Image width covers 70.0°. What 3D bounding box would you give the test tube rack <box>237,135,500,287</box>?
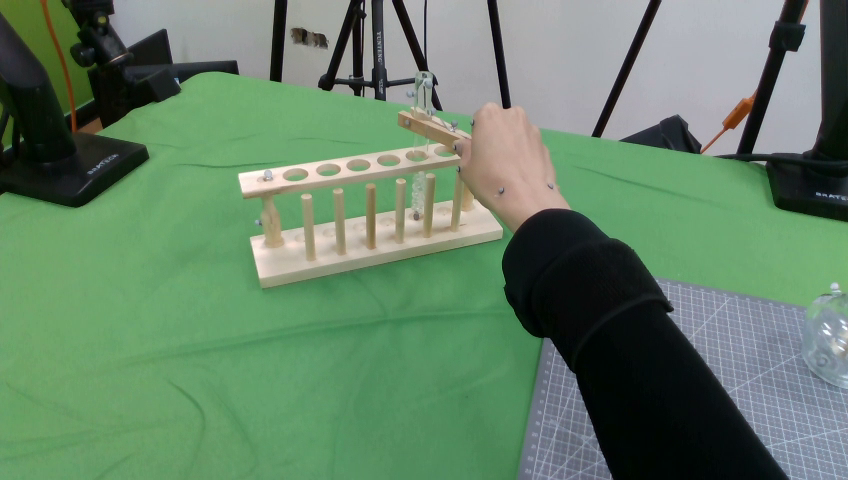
[{"bbox_3d":[-0.046,-0.032,0.583,0.243,0.086,0.066,-11,40,-17],"label":"test tube rack"}]

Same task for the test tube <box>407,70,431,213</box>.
[{"bbox_3d":[-0.005,-0.088,0.576,0.017,0.151,0.017,3,39,-2],"label":"test tube"}]

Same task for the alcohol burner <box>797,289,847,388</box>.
[{"bbox_3d":[0.337,0.056,0.463,0.078,0.120,0.077,1,36,0],"label":"alcohol burner"}]

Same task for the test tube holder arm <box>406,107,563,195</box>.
[{"bbox_3d":[0.046,-0.081,0.524,0.013,0.015,0.176,-35,50,-30],"label":"test tube holder arm"}]

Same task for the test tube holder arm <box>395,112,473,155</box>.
[{"bbox_3d":[0.010,-0.097,0.545,0.087,0.015,0.010,25,49,30],"label":"test tube holder arm"}]
